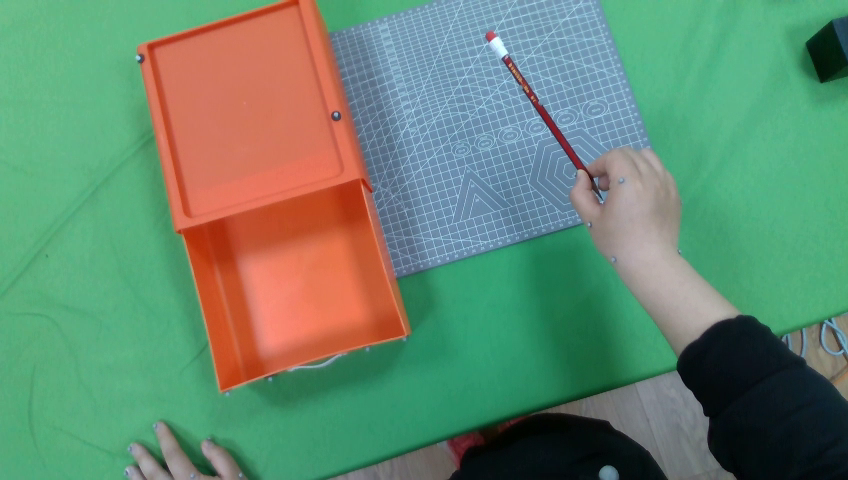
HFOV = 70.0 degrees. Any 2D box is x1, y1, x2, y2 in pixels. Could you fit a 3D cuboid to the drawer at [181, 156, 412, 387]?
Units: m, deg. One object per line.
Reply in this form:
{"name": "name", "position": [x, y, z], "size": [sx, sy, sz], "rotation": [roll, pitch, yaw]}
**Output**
{"name": "drawer", "position": [-0.135, 0.025, 0.637], "size": [0.194, 0.073, 0.211], "rotation": [-17, 84, 3]}

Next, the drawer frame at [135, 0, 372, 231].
{"name": "drawer frame", "position": [-0.182, -0.131, 0.656], "size": [0.201, 0.083, 0.212], "rotation": [-17, 81, 2]}

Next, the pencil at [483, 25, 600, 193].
{"name": "pencil", "position": [0.113, -0.125, 0.579], "size": [0.012, 0.012, 0.193], "rotation": [-34, 86, -1]}
